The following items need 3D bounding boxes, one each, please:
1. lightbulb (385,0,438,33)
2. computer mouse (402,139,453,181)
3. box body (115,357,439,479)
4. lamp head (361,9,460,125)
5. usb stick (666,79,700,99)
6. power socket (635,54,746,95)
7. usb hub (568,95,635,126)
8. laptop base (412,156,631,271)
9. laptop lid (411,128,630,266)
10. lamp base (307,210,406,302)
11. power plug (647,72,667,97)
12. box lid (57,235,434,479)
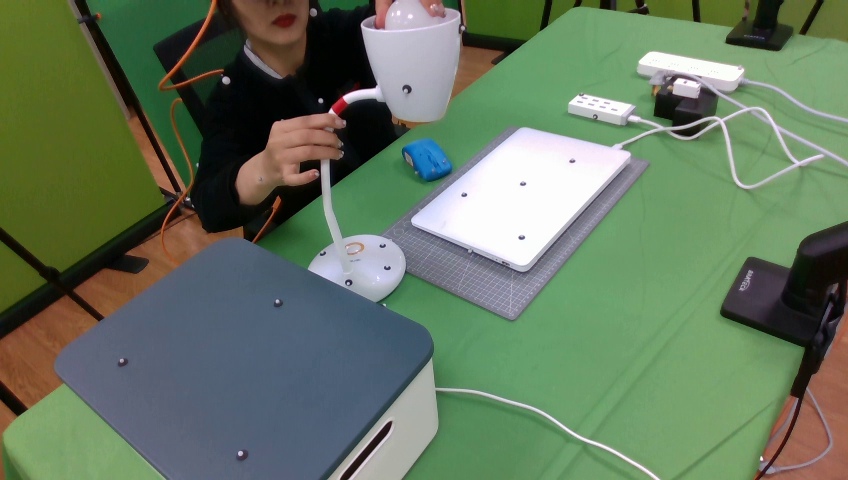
[{"bbox_3d":[-0.010,-0.220,0.693,0.059,0.108,0.059,-8,24,4],"label":"lightbulb"},{"bbox_3d":[0.005,-0.159,1.166,0.063,0.041,0.116,-21,45,-17],"label":"computer mouse"},{"bbox_3d":[-0.189,0.178,0.702,0.361,0.161,0.255,22,49,32],"label":"box body"},{"bbox_3d":[-0.014,-0.196,0.702,0.112,0.123,0.112,0,32,0],"label":"lamp head"},{"bbox_3d":[0.492,-0.288,1.152,0.058,0.027,0.021,20,50,34],"label":"usb stick"},{"bbox_3d":[0.564,-0.357,1.293,0.225,0.033,0.072,24,51,33],"label":"power socket"},{"bbox_3d":[0.360,-0.263,1.228,0.124,0.025,0.049,25,49,34],"label":"usb hub"},{"bbox_3d":[0.176,-0.084,1.055,0.233,0.023,0.355,21,48,36],"label":"laptop base"},{"bbox_3d":[0.172,-0.093,1.049,0.239,0.013,0.358,24,50,36],"label":"laptop lid"},{"bbox_3d":[-0.115,-0.003,0.889,0.161,0.181,0.178,-15,43,-5],"label":"lamp base"},{"bbox_3d":[0.494,-0.320,1.260,0.073,0.052,0.035,2,19,-41],"label":"power plug"},{"bbox_3d":[-0.198,0.123,0.653,0.368,0.015,0.264,22,49,32],"label":"box lid"}]
